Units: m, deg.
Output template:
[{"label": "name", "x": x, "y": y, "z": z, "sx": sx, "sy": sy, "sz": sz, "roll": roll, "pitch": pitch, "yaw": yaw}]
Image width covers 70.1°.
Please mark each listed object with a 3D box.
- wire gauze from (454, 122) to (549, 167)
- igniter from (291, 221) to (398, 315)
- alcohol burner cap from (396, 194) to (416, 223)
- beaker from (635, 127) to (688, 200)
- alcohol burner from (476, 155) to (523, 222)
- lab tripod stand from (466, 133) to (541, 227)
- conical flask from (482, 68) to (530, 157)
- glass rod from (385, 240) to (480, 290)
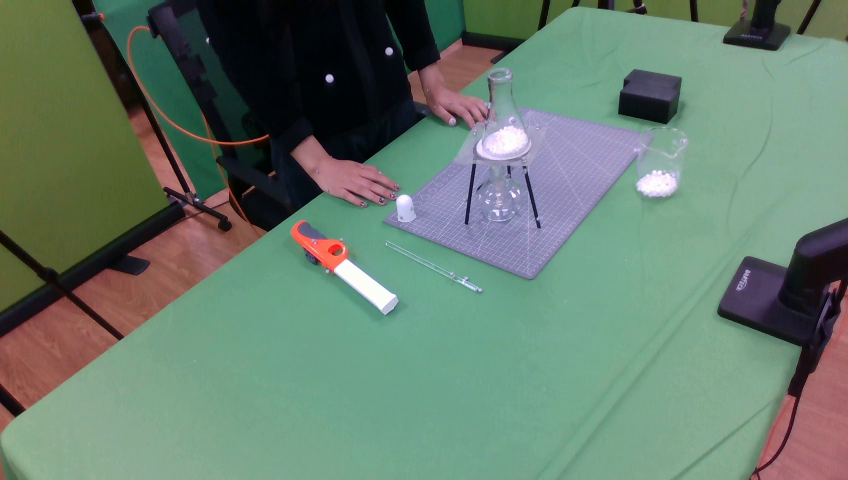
[{"label": "wire gauze", "x": 0.122, "y": -0.149, "z": 0.943, "sx": 0.121, "sy": 0.011, "sz": 0.125, "roll": 7, "pitch": 44, "yaw": 22}, {"label": "igniter", "x": -0.136, "y": 0.037, "z": 0.962, "sx": 0.057, "sy": 0.025, "sz": 0.274, "roll": -41, "pitch": 48, "yaw": -18}, {"label": "alcohol burner cap", "x": -0.032, "y": -0.056, "z": 1.036, "sx": 0.034, "sy": 0.048, "sz": 0.033, "roll": -6, "pitch": 40, "yaw": 6}, {"label": "beaker", "x": 0.388, "y": -0.122, "z": 0.994, "sx": 0.074, "sy": 0.101, "sz": 0.083, "roll": -8, "pitch": 40, "yaw": 2}, {"label": "alcohol burner", "x": 0.123, "y": -0.089, "z": 0.991, "sx": 0.078, "sy": 0.120, "sz": 0.077, "roll": -7, "pitch": 41, "yaw": 6}, {"label": "lab tripod stand", "x": 0.130, "y": -0.099, "z": 0.985, "sx": 0.148, "sy": 0.132, "sz": 0.147, "roll": -6, "pitch": 39, "yaw": 6}, {"label": "conical flask", "x": 0.118, "y": -0.192, "z": 0.902, "sx": 0.075, "sy": 0.122, "sz": 0.075, "roll": -7, "pitch": 39, "yaw": 6}, {"label": "glass rod", "x": 0.009, "y": 0.037, "z": 0.949, "sx": 0.198, "sy": 0.008, "sz": 0.008, "roll": 26, "pitch": 52, "yaw": 34}]
